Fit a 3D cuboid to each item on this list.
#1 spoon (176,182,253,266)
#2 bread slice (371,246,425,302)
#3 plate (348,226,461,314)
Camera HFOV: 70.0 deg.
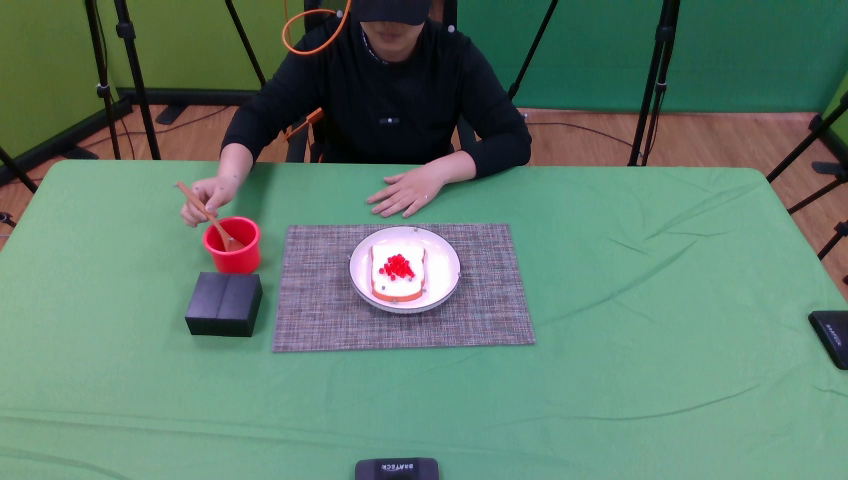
[{"bbox_3d":[-0.380,-0.030,1.103,0.021,0.194,0.041,-13,29,41],"label":"spoon"},{"bbox_3d":[-0.048,0.060,1.124,0.105,0.019,0.130,0,45,-3],"label":"bread slice"},{"bbox_3d":[-0.035,0.058,1.123,0.209,0.038,0.208,2,46,-2],"label":"plate"}]
